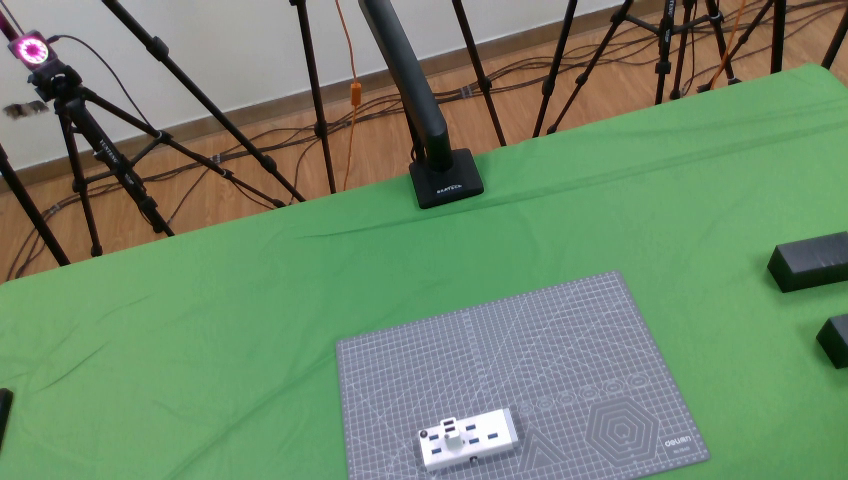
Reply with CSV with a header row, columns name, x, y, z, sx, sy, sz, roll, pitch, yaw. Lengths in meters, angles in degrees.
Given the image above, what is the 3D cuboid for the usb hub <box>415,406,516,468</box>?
name,x,y,z,sx,sy,sz,roll,pitch,yaw
usb hub,0.054,0.257,0.795,0.125,0.025,0.049,-15,50,0

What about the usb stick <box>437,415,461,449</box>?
name,x,y,z,sx,sy,sz,roll,pitch,yaw
usb stick,0.033,0.247,0.770,0.021,0.060,0.027,-17,49,-2
